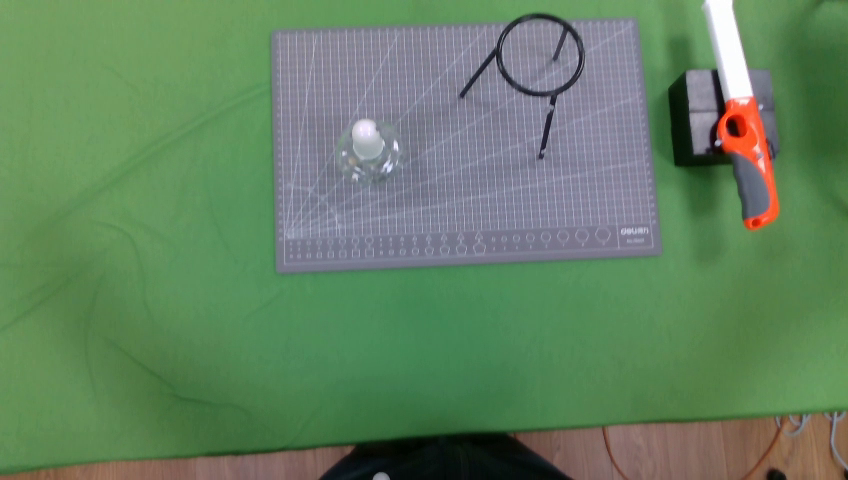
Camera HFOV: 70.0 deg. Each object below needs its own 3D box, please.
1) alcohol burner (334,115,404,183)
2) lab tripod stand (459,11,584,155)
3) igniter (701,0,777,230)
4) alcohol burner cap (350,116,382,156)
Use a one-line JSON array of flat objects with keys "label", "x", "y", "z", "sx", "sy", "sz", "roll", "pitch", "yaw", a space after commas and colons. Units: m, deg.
[{"label": "alcohol burner", "x": -0.061, "y": -0.103, "z": 0.660, "sx": 0.078, "sy": 0.119, "sz": 0.077, "roll": 0, "pitch": 83, "yaw": -1}, {"label": "lab tripod stand", "x": 0.116, "y": -0.181, "z": 0.667, "sx": 0.148, "sy": 0.132, "sz": 0.148, "roll": 0, "pitch": 80, "yaw": -1}, {"label": "igniter", "x": 0.352, "y": -0.147, "z": 0.679, "sx": 0.057, "sy": 0.025, "sz": 0.275, "roll": -6, "pitch": 80, "yaw": 0}, {"label": "alcohol burner cap", "x": -0.061, "y": -0.110, "z": 0.625, "sx": 0.034, "sy": 0.048, "sz": 0.033, "roll": 1, "pitch": 75, "yaw": -2}]
